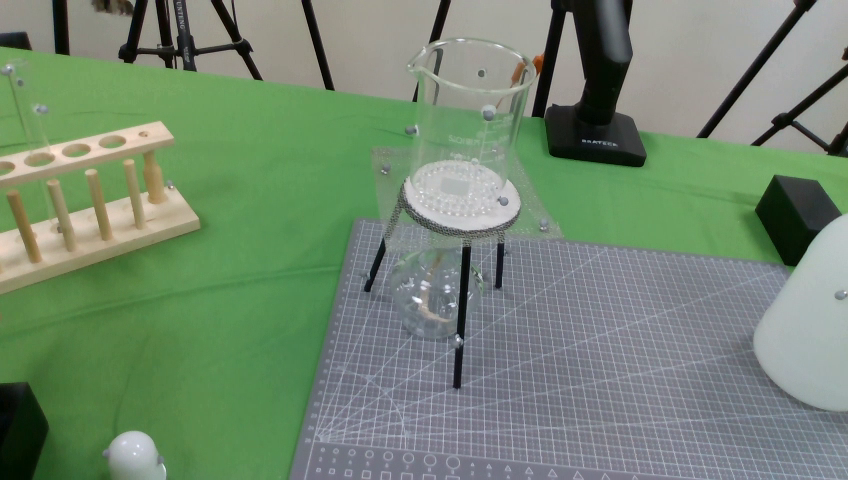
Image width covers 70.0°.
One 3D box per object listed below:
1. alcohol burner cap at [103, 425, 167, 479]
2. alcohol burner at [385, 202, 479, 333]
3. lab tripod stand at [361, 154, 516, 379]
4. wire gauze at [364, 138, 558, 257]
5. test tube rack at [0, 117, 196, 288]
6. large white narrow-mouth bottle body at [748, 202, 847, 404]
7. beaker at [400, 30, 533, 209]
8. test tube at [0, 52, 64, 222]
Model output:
[{"bbox_3d":[-0.182,0.137,0.378,0.034,0.048,0.033,5,40,-4],"label":"alcohol burner cap"},{"bbox_3d":[0.009,0.018,0.488,0.078,0.120,0.077,6,39,-5],"label":"alcohol burner"},{"bbox_3d":[0.019,0.013,0.480,0.148,0.132,0.147,6,41,-5],"label":"lab tripod stand"},{"bbox_3d":[0.022,-0.038,0.440,0.122,0.011,0.123,-4,45,-11],"label":"wire gauze"},{"bbox_3d":[-0.329,-0.025,0.510,0.243,0.086,0.066,-23,49,-32],"label":"test tube rack"},{"bbox_3d":[0.335,0.031,0.462,0.102,0.196,0.101,4,40,-3],"label":"large white narrow-mouth bottle body"},{"bbox_3d":[0.022,-0.078,0.410,0.084,0.101,0.073,2,42,-7],"label":"beaker"},{"bbox_3d":[-0.321,-0.079,0.498,0.017,0.151,0.017,5,36,-3],"label":"test tube"}]
